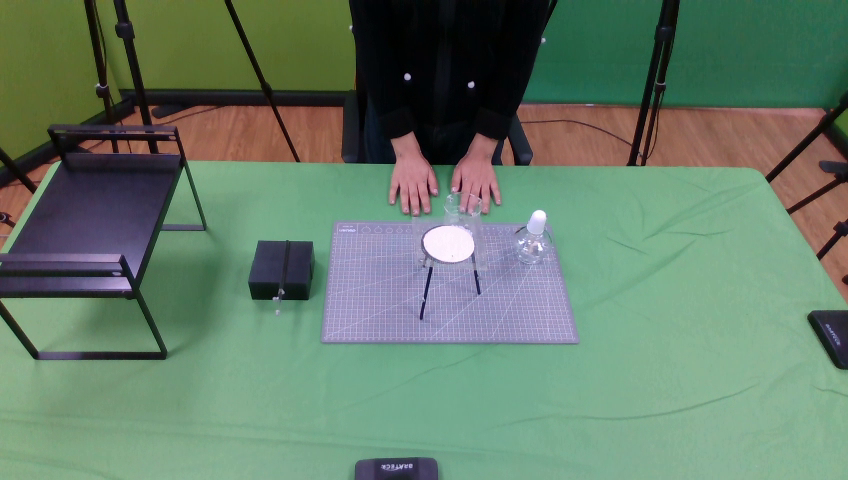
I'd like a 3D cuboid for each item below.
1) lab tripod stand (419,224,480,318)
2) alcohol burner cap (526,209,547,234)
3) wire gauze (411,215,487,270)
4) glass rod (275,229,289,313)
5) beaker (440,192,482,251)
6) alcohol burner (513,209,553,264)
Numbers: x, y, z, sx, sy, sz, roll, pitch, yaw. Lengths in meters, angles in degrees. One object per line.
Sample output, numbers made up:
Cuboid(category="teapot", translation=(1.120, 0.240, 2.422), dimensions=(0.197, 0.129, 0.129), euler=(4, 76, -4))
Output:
Cuboid(category="lab tripod stand", translation=(0.034, 0.052, 1.070), dimensions=(0.148, 0.132, 0.147), euler=(3, 48, -3))
Cuboid(category="alcohol burner cap", translation=(0.213, -0.037, 1.133), dimensions=(0.034, 0.048, 0.033), euler=(4, 51, -5))
Cuboid(category="wire gauze", translation=(0.041, 0.002, 1.026), dimensions=(0.125, 0.011, 0.120), euler=(1, 46, -3))
Cuboid(category="glass rod", translation=(-0.251, 0.050, 1.075), dimensions=(0.008, 0.008, 0.198), euler=(-1, 45, -5))
Cuboid(category="beaker", translation=(0.072, -0.034, 1.180), dimensions=(0.084, 0.101, 0.073), euler=(-20, 51, -22))
Cuboid(category="alcohol burner", translation=(0.210, -0.012, 1.158), dimensions=(0.078, 0.120, 0.077), euler=(1, 44, -1))
